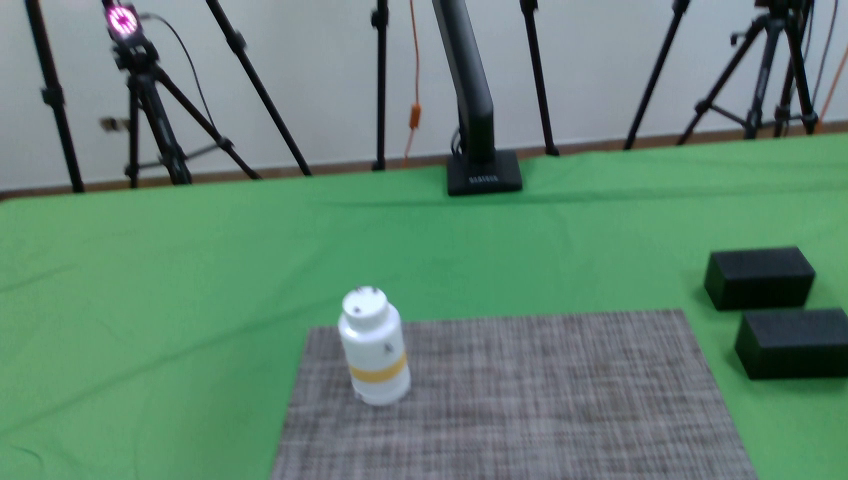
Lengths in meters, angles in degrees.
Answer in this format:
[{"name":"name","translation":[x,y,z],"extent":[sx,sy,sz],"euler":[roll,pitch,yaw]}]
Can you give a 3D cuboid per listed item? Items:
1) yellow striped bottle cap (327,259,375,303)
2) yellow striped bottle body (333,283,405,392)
[{"name":"yellow striped bottle cap","translation":[-0.070,0.039,0.585],"extent":[0.044,0.019,0.044],"euler":[-6,44,6]},{"name":"yellow striped bottle body","translation":[-0.057,0.097,0.630],"extent":[0.063,0.121,0.062],"euler":[-4,38,4]}]
